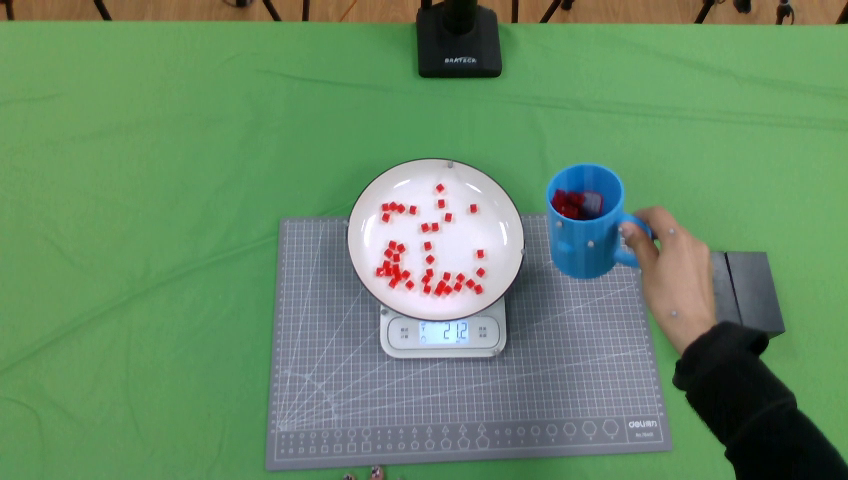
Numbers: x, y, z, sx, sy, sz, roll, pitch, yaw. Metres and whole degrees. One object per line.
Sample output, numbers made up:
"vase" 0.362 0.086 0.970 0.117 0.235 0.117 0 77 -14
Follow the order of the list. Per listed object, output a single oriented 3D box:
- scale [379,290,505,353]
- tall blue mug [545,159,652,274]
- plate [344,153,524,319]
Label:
"scale" 0.020 0.035 0.733 0.149 0.032 0.199 0 68 -3
"tall blue mug" 0.185 -0.022 0.645 0.107 0.109 0.077 2 56 16
"plate" 0.012 -0.004 0.713 0.209 0.038 0.207 2 67 -4
